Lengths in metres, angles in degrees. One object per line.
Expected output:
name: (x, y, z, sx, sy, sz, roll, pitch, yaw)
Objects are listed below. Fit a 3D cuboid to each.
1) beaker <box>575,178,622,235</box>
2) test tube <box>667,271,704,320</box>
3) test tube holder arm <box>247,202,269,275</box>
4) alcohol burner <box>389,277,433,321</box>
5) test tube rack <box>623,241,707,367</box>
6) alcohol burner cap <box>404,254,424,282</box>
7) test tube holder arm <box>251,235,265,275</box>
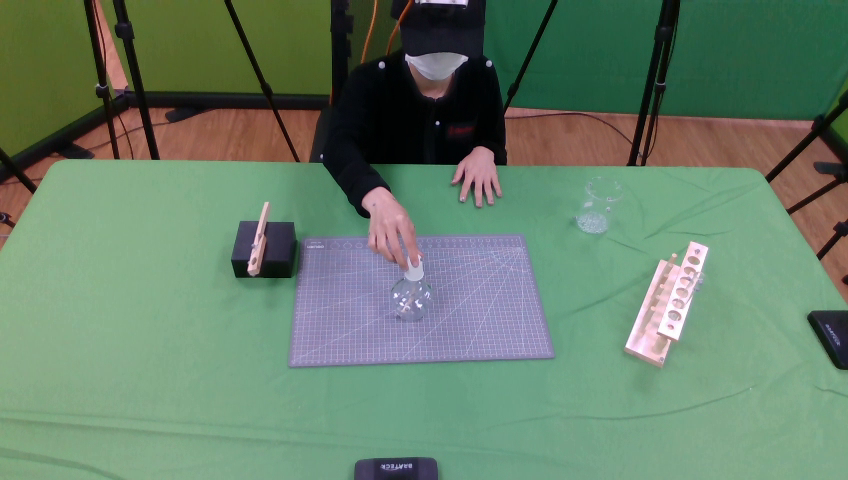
beaker: (0.356, -0.068, 1.240, 0.084, 0.101, 0.073, -18, 50, -21)
test tube: (0.432, 0.104, 1.019, 0.017, 0.151, 0.017, 3, 48, -3)
test tube holder arm: (-0.304, -0.006, 1.116, 0.013, 0.015, 0.177, -5, 46, 2)
alcohol burner: (-0.022, 0.085, 1.046, 0.078, 0.119, 0.077, 2, 48, -3)
test tube rack: (0.435, 0.104, 1.089, 0.066, 0.085, 0.242, 24, 49, 19)
alcohol burner cap: (-0.017, 0.043, 1.003, 0.034, 0.048, 0.033, 0, 46, 0)
test tube holder arm: (-0.297, 0.025, 1.085, 0.010, 0.015, 0.087, -5, 46, 2)
